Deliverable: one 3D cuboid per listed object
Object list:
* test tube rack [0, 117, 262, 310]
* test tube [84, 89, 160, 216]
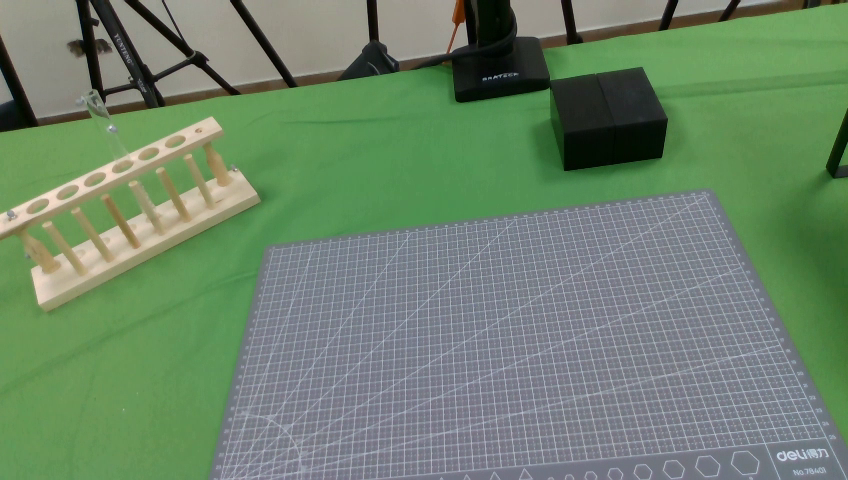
[{"bbox_3d":[-0.307,-0.032,0.644,0.242,0.086,0.066,-30,48,-17],"label":"test tube rack"},{"bbox_3d":[-0.308,-0.085,0.625,0.017,0.152,0.017,-5,41,4],"label":"test tube"}]
